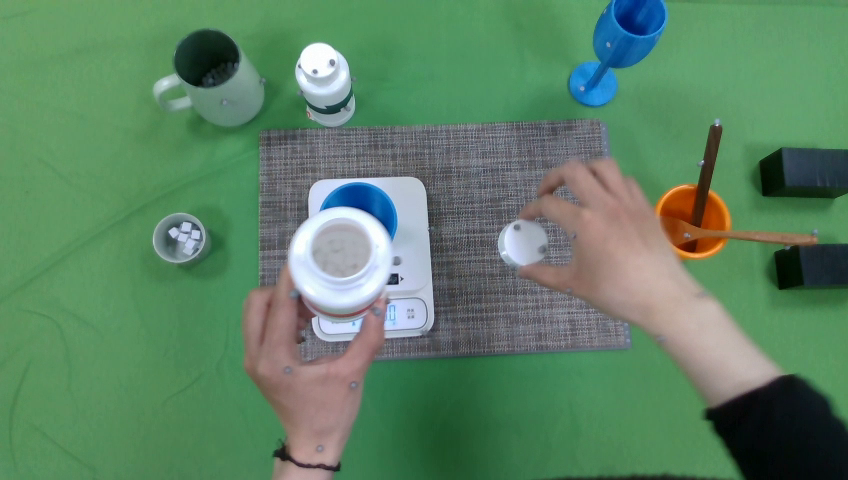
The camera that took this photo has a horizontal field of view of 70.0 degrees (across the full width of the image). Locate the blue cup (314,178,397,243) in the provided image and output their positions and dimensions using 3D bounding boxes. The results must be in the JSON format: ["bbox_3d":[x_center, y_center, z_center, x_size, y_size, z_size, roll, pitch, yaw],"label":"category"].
[{"bbox_3d":[-0.073,-0.016,0.684,0.093,0.100,0.092,0,81,-2],"label":"blue cup"}]

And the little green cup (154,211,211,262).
[{"bbox_3d":[-0.291,-0.001,0.739,0.061,0.039,0.061,1,79,-3],"label":"little green cup"}]

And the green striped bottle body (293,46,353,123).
[{"bbox_3d":[-0.123,-0.194,0.741,0.063,0.119,0.063,0,78,-2],"label":"green striped bottle body"}]

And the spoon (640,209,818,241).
[{"bbox_3d":[0.349,-0.013,0.711,0.022,0.192,0.041,15,84,-43],"label":"spoon"}]

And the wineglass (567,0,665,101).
[{"bbox_3d":[0.227,-0.235,0.735,0.074,0.173,0.073,0,79,-1],"label":"wineglass"}]

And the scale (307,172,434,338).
[{"bbox_3d":[-0.067,0.016,0.745,0.149,0.031,0.200,-4,80,-3],"label":"scale"}]

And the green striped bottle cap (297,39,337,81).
[{"bbox_3d":[-0.122,-0.205,0.690,0.044,0.020,0.044,1,78,-2],"label":"green striped bottle cap"}]

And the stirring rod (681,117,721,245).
[{"bbox_3d":[0.328,-0.064,0.720,0.014,0.178,0.006,3,38,11],"label":"stirring rod"}]

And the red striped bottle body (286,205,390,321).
[{"bbox_3d":[-0.056,0.016,0.395,0.063,0.120,0.062,2,77,-7],"label":"red striped bottle body"}]

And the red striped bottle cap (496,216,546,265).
[{"bbox_3d":[0.090,0.000,0.557,0.045,0.018,0.044,2,81,-12],"label":"red striped bottle cap"}]

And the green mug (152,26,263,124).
[{"bbox_3d":[-0.268,-0.194,0.743,0.125,0.105,0.092,-25,81,-6],"label":"green mug"}]
